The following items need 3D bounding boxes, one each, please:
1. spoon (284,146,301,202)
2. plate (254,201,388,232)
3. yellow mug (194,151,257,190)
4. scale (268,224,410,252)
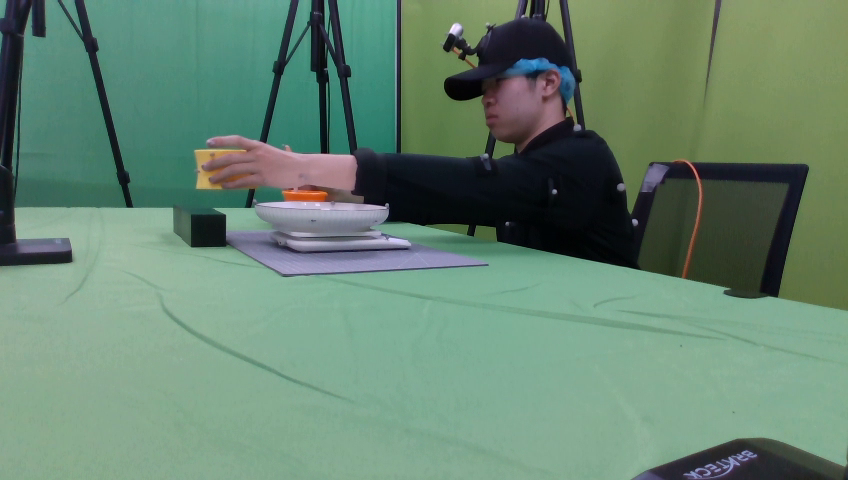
[{"bbox_3d":[-0.268,-0.114,1.250,0.042,0.193,0.021,1,-24,-33],"label":"spoon"},{"bbox_3d":[-0.162,-0.038,0.961,0.209,0.038,0.209,2,6,0],"label":"plate"},{"bbox_3d":[-0.342,-0.122,1.056,0.100,0.064,0.130,0,6,-2],"label":"yellow mug"},{"bbox_3d":[-0.137,-0.006,0.980,0.202,0.031,0.148,-1,9,-30],"label":"scale"}]
